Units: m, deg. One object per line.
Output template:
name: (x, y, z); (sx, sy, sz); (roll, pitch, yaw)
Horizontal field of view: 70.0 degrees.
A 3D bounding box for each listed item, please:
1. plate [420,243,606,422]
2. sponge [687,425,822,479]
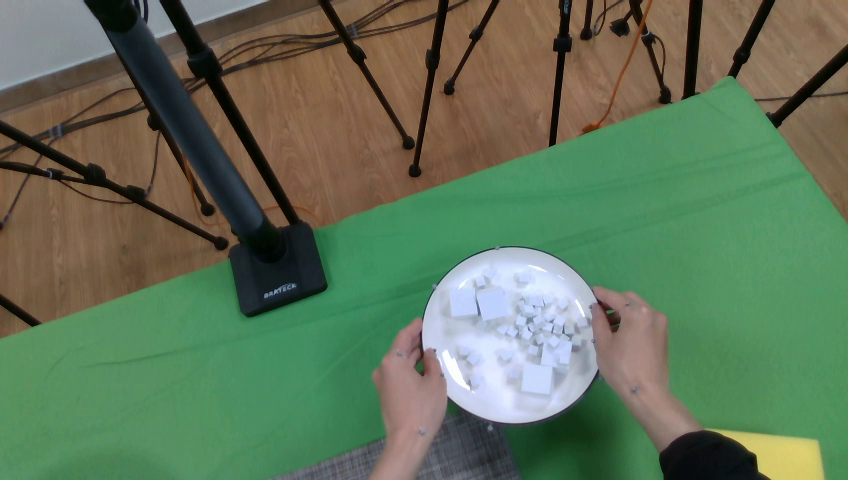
plate: (0.101, 0.105, 0.698); (0.207, 0.039, 0.206); (-4, 67, 9)
sponge: (0.346, 0.306, 0.627); (0.118, 0.061, 0.205); (3, 65, 9)
